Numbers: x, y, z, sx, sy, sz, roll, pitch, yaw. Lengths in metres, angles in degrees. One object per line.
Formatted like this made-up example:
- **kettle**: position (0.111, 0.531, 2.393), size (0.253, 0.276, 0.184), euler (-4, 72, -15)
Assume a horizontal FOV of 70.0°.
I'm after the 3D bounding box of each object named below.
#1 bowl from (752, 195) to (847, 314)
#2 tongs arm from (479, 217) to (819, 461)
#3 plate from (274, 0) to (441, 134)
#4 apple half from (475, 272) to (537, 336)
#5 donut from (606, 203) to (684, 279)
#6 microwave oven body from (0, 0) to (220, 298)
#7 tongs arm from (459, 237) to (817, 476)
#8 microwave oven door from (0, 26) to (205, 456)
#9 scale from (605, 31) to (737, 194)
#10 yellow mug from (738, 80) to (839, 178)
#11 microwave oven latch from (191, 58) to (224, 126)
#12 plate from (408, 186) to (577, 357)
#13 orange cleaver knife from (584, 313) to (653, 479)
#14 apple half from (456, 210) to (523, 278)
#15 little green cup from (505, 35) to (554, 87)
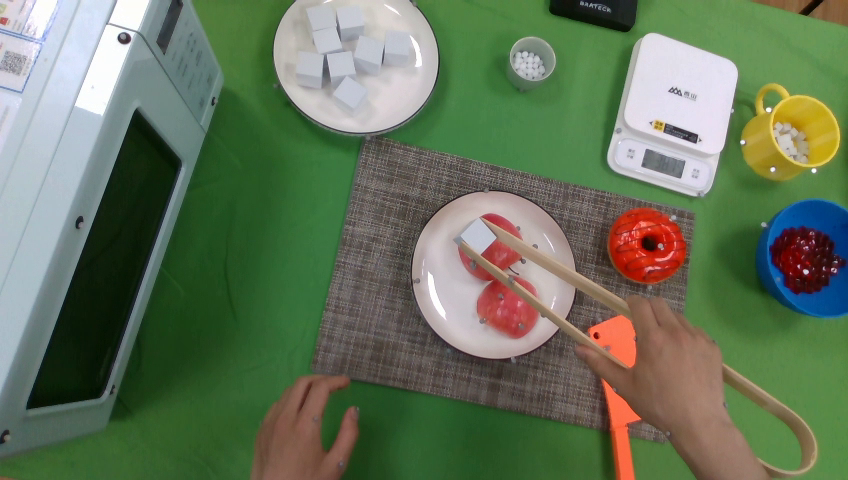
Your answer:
- **bowl**: position (0.483, 0.023, 0.782), size (0.152, 0.077, 0.151), euler (1, 81, -7)
- **tongs arm**: position (0.208, 0.084, 0.613), size (0.385, 0.028, 0.028), euler (35, 64, 21)
- **plate**: position (-0.083, -0.230, 0.772), size (0.208, 0.039, 0.207), euler (1, 80, -7)
- **apple half**: position (0.104, 0.074, 0.735), size (0.081, 0.033, 0.081), euler (1, 81, -4)
- **donut**: position (0.280, 0.002, 0.773), size (0.099, 0.048, 0.098), euler (1, 80, -5)
- **microwave oven body**: position (-0.438, -0.067, 0.581), size (0.326, 0.260, 0.440), euler (15, 79, -5)
- **tongs arm**: position (0.193, 0.100, 0.605), size (0.382, 0.027, 0.050), euler (39, 69, 22)
- **microwave oven door**: position (-0.307, 0.011, 0.580), size (0.039, 0.244, 0.354), euler (15, 79, -4)
- **scale**: position (0.335, -0.173, 0.819), size (0.149, 0.031, 0.200), euler (17, 79, -4)
- **yellow mug**: position (0.484, -0.155, 0.818), size (0.100, 0.064, 0.130), euler (-20, 82, -9)
- **microwave oven latch**: position (-0.263, -0.179, 0.721), size (0.030, 0.029, 0.079), euler (17, 79, -4)
- **plate**: position (0.083, 0.038, 0.744), size (0.209, 0.038, 0.208), euler (1, 80, -7)
- **orange cleaver knife**: position (0.247, 0.193, 0.749), size (0.077, 0.012, 0.210), euler (-4, 80, -14)
- **apple half**: position (0.082, 0.000, 0.735), size (0.081, 0.053, 0.074), euler (-31, 82, -12)
- **little green cup**: position (0.137, -0.235, 0.801), size (0.061, 0.039, 0.061), euler (1, 80, -7)
